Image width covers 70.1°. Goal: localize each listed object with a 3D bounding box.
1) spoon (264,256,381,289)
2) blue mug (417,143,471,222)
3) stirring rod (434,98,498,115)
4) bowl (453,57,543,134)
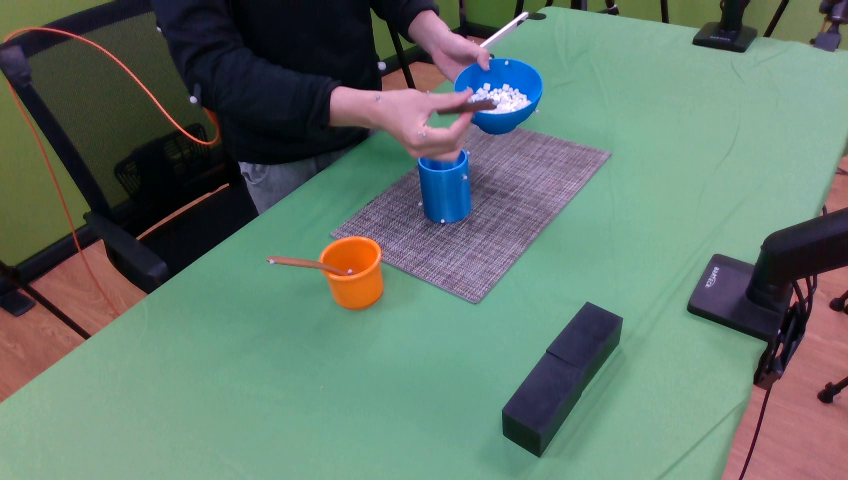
[{"bbox_3d":[-0.136,0.041,0.842,0.021,0.195,0.041,-56,47,13],"label":"spoon"},{"bbox_3d":[0.031,-0.104,1.014,0.082,0.106,0.115,-14,41,-7],"label":"blue mug"},{"bbox_3d":[0.050,-0.168,0.768,0.006,0.014,0.175,-36,20,-13],"label":"stirring rod"},{"bbox_3d":[0.127,-0.236,1.036,0.151,0.077,0.150,-3,51,4],"label":"bowl"}]
